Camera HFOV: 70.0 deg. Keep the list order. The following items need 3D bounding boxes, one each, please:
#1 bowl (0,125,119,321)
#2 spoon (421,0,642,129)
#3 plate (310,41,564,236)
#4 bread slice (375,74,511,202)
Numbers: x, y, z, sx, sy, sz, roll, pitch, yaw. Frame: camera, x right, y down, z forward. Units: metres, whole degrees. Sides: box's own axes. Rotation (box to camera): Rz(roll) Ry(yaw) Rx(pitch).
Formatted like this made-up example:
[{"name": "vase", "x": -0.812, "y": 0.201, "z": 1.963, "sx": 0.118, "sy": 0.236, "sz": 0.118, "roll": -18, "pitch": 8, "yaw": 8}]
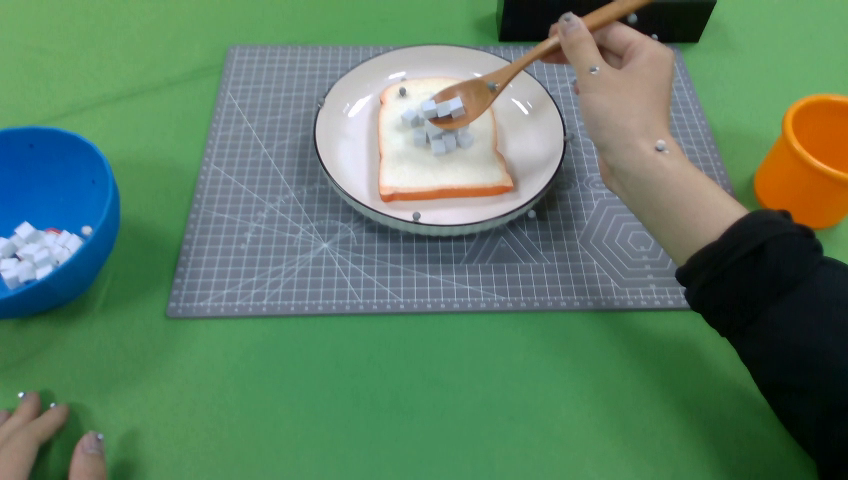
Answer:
[{"name": "bowl", "x": -0.283, "y": 0.000, "z": 0.427, "sx": 0.151, "sy": 0.077, "sz": 0.150, "roll": 1, "pitch": 57, "yaw": -1}, {"name": "spoon", "x": 0.082, "y": -0.137, "z": 0.449, "sx": 0.193, "sy": 0.022, "sz": 0.041, "roll": -28, "pitch": 60, "yaw": 24}, {"name": "plate", "x": 0.010, "y": -0.086, "z": 0.512, "sx": 0.209, "sy": 0.038, "sz": 0.207, "roll": 1, "pitch": 57, "yaw": -1}, {"name": "bread slice", "x": 0.007, "y": -0.089, "z": 0.517, "sx": 0.107, "sy": 0.018, "sz": 0.133, "roll": -7, "pitch": 59, "yaw": -5}]
